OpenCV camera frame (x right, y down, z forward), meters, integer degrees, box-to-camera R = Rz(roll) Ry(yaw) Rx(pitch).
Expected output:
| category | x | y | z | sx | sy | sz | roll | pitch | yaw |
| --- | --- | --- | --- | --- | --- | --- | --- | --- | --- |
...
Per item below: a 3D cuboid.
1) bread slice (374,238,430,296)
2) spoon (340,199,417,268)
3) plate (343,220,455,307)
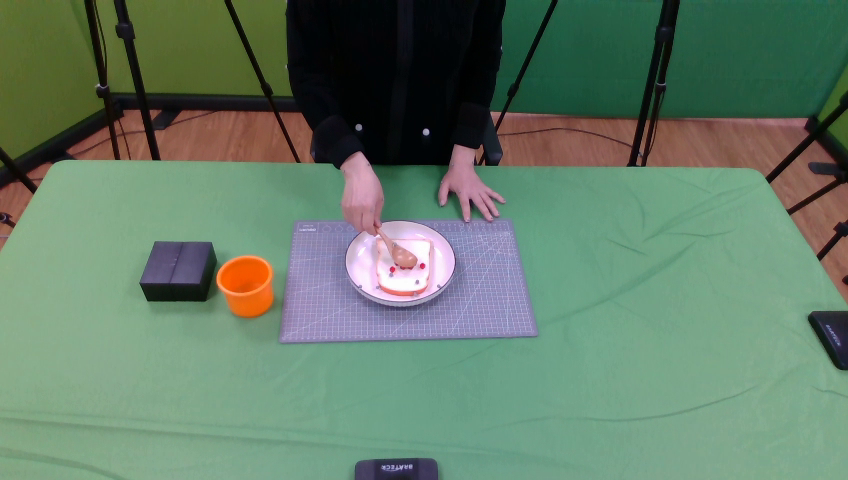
| category | x | y | z | sx | sy | sz | roll | pitch | yaw |
| --- | --- | --- | --- | --- | --- | --- | --- | --- | --- |
| bread slice | -0.039 | 0.048 | 1.136 | 0.107 | 0.018 | 0.133 | 0 | 46 | -5 |
| spoon | -0.087 | -0.015 | 1.130 | 0.193 | 0.022 | 0.041 | 45 | 56 | 12 |
| plate | -0.047 | 0.046 | 1.135 | 0.209 | 0.038 | 0.208 | 2 | 46 | -2 |
